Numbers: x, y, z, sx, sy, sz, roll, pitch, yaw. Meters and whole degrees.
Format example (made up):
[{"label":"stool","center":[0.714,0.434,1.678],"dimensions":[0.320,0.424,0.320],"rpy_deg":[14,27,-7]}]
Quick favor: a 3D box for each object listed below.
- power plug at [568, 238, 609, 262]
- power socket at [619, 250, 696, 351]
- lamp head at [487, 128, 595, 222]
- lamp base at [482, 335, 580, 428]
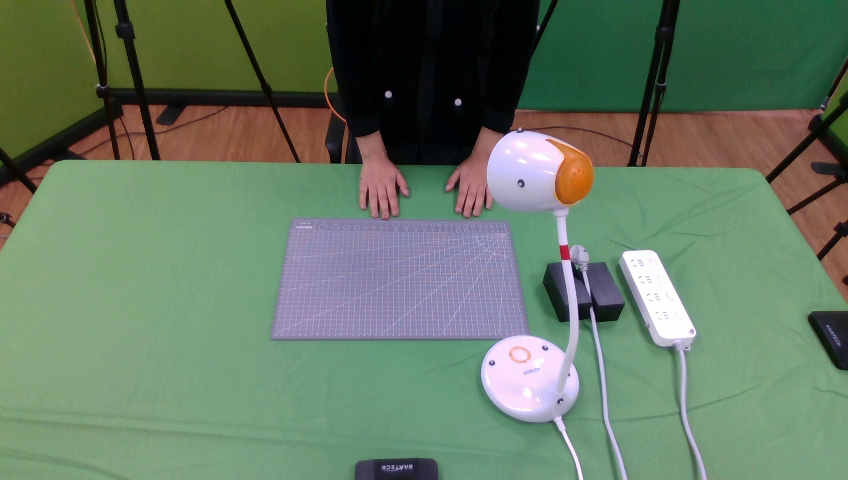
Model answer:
[{"label":"power plug","center":[0.305,0.020,1.130],"dimensions":[0.073,0.052,0.035],"rpy_deg":[-9,91,-20]},{"label":"power socket","center":[0.428,0.103,1.121],"dimensions":[0.072,0.033,0.225],"rpy_deg":[-3,46,-6]},{"label":"lamp head","center":[0.160,-0.084,0.791],"dimensions":[0.112,0.113,0.122],"rpy_deg":[-24,28,-25]},{"label":"lamp base","center":[0.184,0.177,0.928],"dimensions":[0.161,0.181,0.178],"rpy_deg":[-22,53,-23]}]
